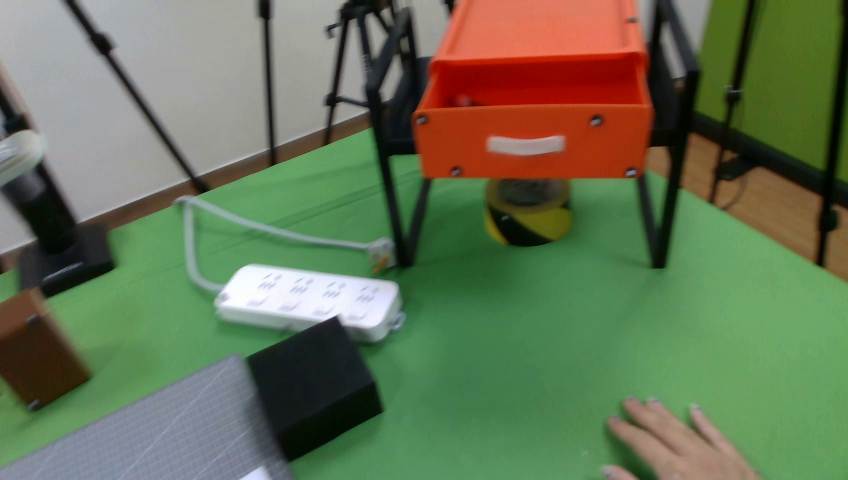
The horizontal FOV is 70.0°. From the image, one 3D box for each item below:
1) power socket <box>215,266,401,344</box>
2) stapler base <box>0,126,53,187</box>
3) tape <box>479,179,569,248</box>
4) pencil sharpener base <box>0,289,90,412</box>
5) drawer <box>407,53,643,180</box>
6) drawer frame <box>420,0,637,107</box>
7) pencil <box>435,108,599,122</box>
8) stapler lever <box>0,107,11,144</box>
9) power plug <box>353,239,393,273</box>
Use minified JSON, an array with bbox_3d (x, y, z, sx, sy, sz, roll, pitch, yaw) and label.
[{"bbox_3d":[-0.136,0.072,0.698,0.226,0.033,0.072,5,42,18],"label":"power socket"},{"bbox_3d":[-0.319,-0.042,0.413,0.130,0.025,0.041,-33,48,-3],"label":"stapler base"},{"bbox_3d":[0.127,-0.046,0.772,0.117,0.053,0.115,-5,42,5],"label":"tape"},{"bbox_3d":[-0.420,0.119,0.640,0.076,0.108,0.061,-35,46,-26],"label":"pencil sharpener base"},{"bbox_3d":[0.101,-0.144,0.591,0.194,0.074,0.210,1,40,13],"label":"drawer"},{"bbox_3d":[0.115,-0.206,0.658,0.201,0.083,0.212,0,40,12],"label":"drawer frame"},{"bbox_3d":[0.084,-0.123,0.597,0.192,0.012,0.012,13,43,42],"label":"pencil"},{"bbox_3d":[-0.328,-0.055,0.394,0.118,0.040,0.026,-33,48,-3],"label":"stapler lever"},{"bbox_3d":[-0.067,0.026,0.754,0.072,0.035,0.052,-27,18,42],"label":"power plug"}]
